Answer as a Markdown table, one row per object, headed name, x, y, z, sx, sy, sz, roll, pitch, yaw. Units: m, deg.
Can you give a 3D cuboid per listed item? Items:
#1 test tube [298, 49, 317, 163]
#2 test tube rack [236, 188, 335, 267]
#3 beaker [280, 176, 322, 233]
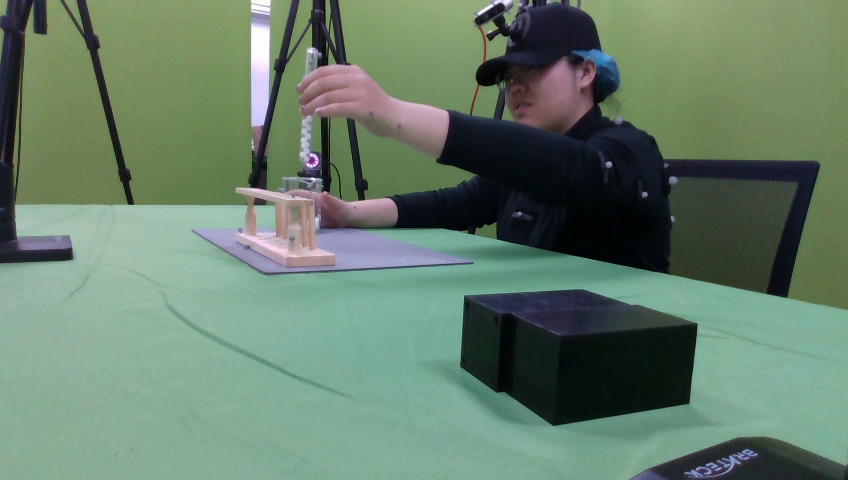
| name | x | y | z | sx | sy | sz | roll | pitch | yaw |
| --- | --- | --- | --- | --- | --- | --- | --- | --- | --- |
| test tube | -0.155 | -0.177 | 0.802 | 0.017 | 0.150 | 0.017 | 4 | 0 | 0 |
| test tube rack | -0.202 | -0.024 | 0.855 | 0.067 | 0.085 | 0.241 | -2 | 8 | -31 |
| beaker | -0.225 | -0.065 | 1.111 | 0.074 | 0.100 | 0.083 | -2 | 10 | -30 |
